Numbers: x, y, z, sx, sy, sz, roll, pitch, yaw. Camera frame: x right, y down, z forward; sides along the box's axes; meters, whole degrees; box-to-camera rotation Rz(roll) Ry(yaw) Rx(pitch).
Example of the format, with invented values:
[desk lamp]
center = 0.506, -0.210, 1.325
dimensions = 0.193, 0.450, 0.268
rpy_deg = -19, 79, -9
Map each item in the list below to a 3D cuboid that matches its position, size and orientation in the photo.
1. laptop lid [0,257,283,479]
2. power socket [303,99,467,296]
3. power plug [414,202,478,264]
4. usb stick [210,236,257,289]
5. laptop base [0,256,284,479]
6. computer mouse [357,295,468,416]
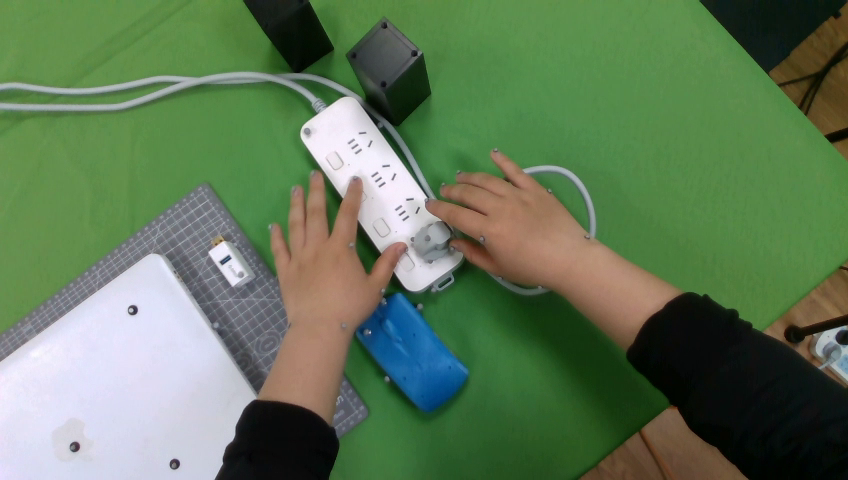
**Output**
[laptop lid]
center = -0.344, 0.209, 0.605
dimensions = 0.357, 0.013, 0.241
rpy_deg = -35, 85, 0
[power socket]
center = -0.041, -0.044, 0.614
dimensions = 0.072, 0.033, 0.226
rpy_deg = -35, 82, 1
[power plug]
center = 0.025, -0.003, 0.584
dimensions = 0.072, 0.053, 0.035
rpy_deg = -24, 84, 2
[usb stick]
center = -0.199, 0.021, 0.620
dimensions = 0.021, 0.027, 0.059
rpy_deg = -36, 81, 3
[laptop base]
center = -0.344, 0.209, 0.617
dimensions = 0.354, 0.023, 0.235
rpy_deg = -36, 86, 0
[computer mouse]
center = -0.013, 0.112, 0.593
dimensions = 0.063, 0.041, 0.116
rpy_deg = -40, 78, 2
